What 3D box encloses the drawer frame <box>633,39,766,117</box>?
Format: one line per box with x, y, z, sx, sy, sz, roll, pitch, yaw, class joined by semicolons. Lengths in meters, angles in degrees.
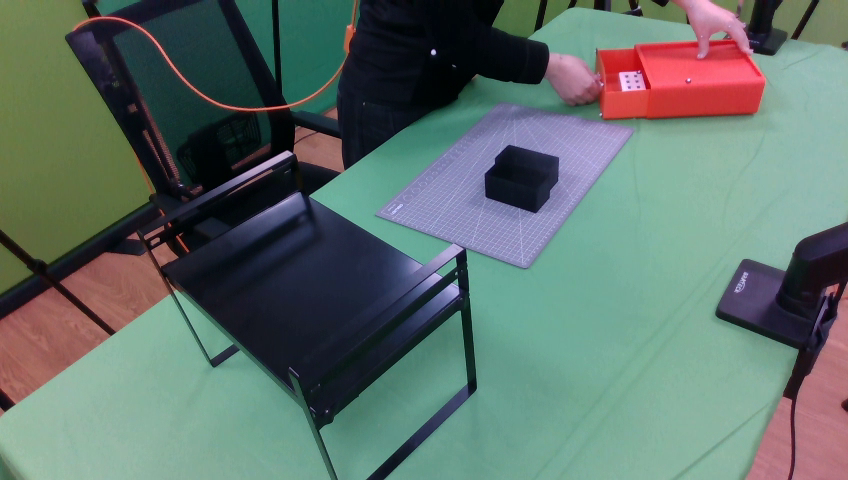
0.544;-0.332;1.233;0.213;0.083;0.201;-1;41;6;drawer frame

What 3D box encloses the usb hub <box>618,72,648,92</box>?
0.437;-0.311;1.258;0.049;0.025;0.124;2;41;7;usb hub

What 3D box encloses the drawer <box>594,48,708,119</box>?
0.465;-0.328;1.247;0.211;0.073;0.194;1;41;7;drawer
